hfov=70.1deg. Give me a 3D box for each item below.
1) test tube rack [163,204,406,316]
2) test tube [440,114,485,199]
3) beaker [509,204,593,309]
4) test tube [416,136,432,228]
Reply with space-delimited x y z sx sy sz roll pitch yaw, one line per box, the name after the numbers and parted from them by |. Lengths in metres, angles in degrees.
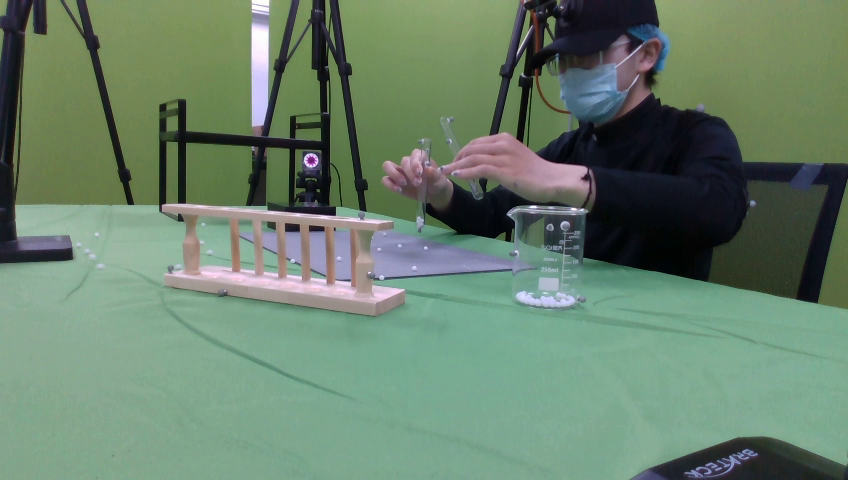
-0.141 0.013 0.601 0.241 0.085 0.067 5 8 21 | test tube rack
0.054 -0.121 0.868 0.017 0.150 0.017 -18 -26 -9 | test tube
0.126 0.015 0.613 0.084 0.100 0.074 1 7 -5 | beaker
0.000 -0.092 0.967 0.017 0.150 0.017 4 19 -1 | test tube
